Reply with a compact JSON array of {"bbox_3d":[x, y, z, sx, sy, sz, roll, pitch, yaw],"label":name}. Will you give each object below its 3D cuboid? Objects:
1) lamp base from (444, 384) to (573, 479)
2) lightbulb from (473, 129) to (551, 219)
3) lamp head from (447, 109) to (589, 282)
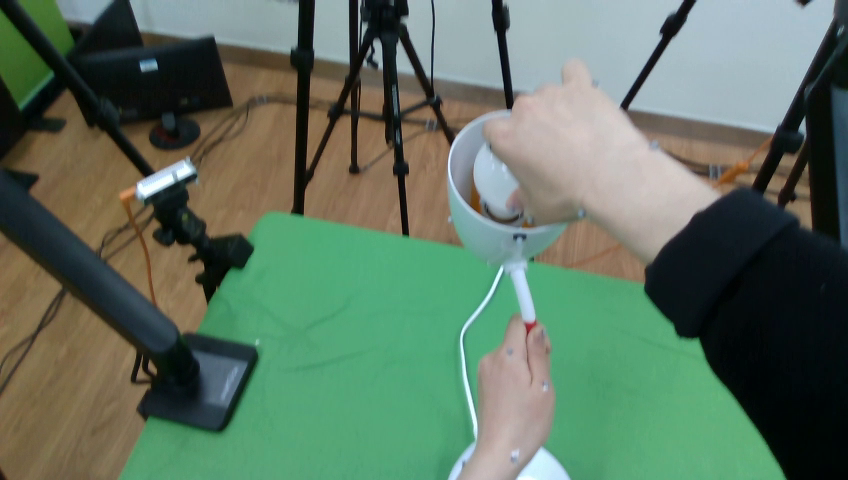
[{"bbox_3d":[0.098,0.247,0.665,0.161,0.182,0.177,-23,54,-19],"label":"lamp base"},{"bbox_3d":[0.069,-0.046,0.487,0.059,0.108,0.059,-1,67,2],"label":"lightbulb"},{"bbox_3d":[0.071,-0.028,0.514,0.112,0.124,0.111,1,57,-1],"label":"lamp head"}]
